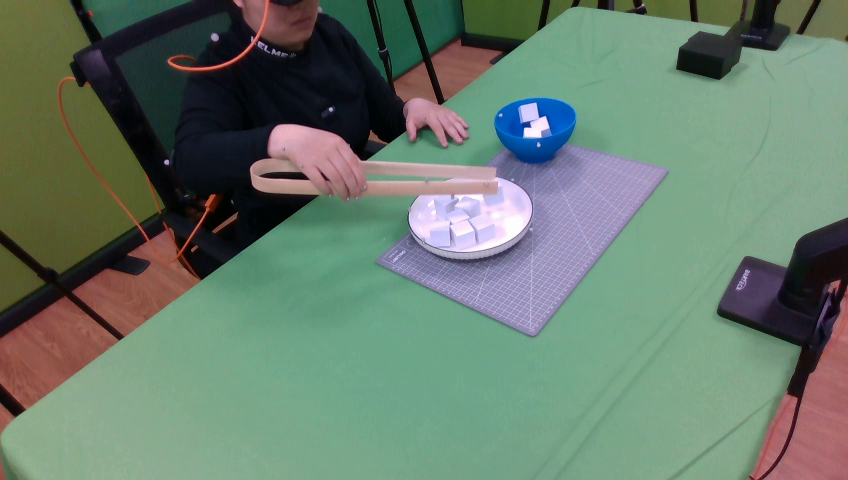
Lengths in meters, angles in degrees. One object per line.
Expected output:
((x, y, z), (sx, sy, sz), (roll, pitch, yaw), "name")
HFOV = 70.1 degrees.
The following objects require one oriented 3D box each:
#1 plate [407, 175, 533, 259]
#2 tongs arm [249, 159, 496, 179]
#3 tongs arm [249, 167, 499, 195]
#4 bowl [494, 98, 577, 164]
((0.076, -0.037, 0.997), (0.207, 0.039, 0.206), (-5, 40, 5), "plate")
((-0.076, -0.108, 0.962), (0.389, 0.028, 0.028), (1, 45, -6), "tongs arm")
((-0.075, -0.093, 0.945), (0.386, 0.026, 0.050), (-2, 42, -10), "tongs arm")
((0.207, -0.196, 1.128), (0.151, 0.077, 0.150), (-5, 40, 5), "bowl")
